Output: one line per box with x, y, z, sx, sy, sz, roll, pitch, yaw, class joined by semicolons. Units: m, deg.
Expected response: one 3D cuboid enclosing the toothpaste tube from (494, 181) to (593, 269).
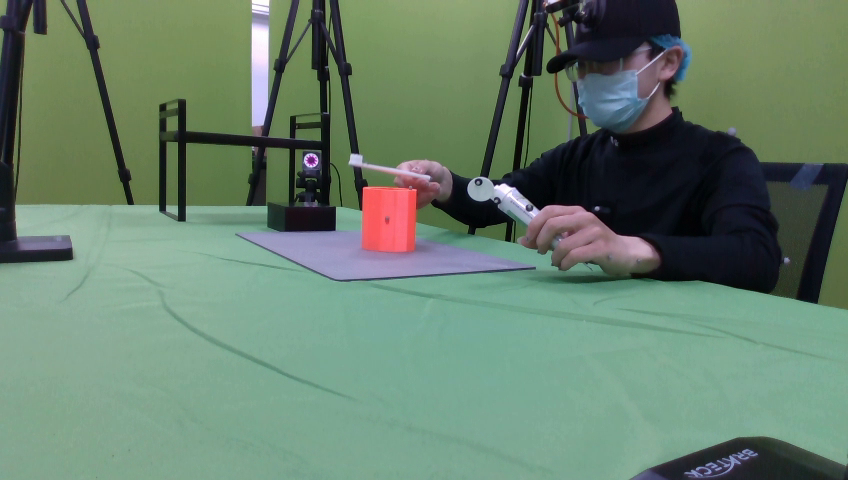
0.152;-0.019;0.774;0.164;0.034;0.055;42;14;14;toothpaste tube

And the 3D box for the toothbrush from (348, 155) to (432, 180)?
-0.049;-0.112;0.950;0.014;0.016;0.183;-3;-5;41;toothbrush

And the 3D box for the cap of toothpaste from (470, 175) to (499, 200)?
0.078;-0.069;0.778;0.037;0.037;0.011;3;37;8;cap of toothpaste

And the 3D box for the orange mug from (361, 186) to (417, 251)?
-0.054;-0.039;0.962;0.083;0.101;0.126;2;12;1;orange mug
